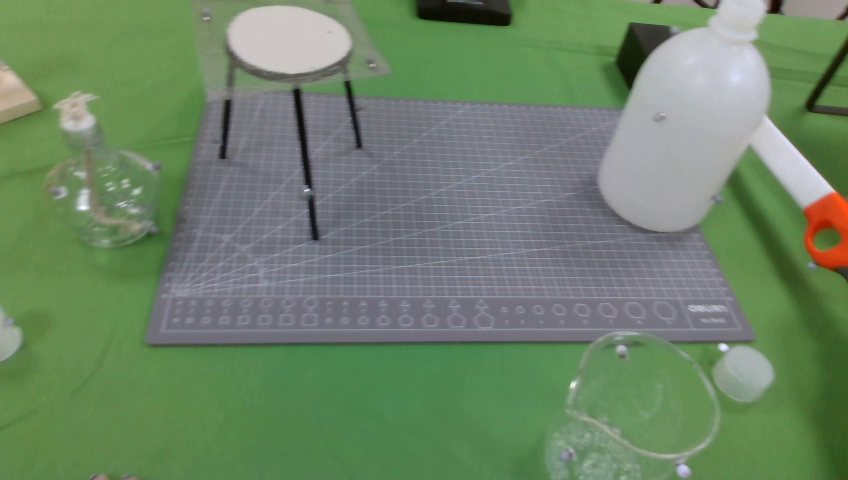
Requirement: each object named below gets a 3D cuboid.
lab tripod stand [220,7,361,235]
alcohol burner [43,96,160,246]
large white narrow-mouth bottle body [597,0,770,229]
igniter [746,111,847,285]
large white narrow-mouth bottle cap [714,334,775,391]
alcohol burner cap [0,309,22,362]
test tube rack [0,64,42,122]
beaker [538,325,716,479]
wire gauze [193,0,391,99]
[{"bbox_3d":[-0.101,-0.099,0.481,0.149,0.132,0.147,6,48,-6],"label":"lab tripod stand"},{"bbox_3d":[-0.235,-0.052,0.436,0.078,0.120,0.077,6,46,-5],"label":"alcohol burner"},{"bbox_3d":[0.217,-0.106,0.495,0.102,0.196,0.101,4,48,-4],"label":"large white narrow-mouth bottle body"},{"bbox_3d":[0.340,-0.025,0.515,0.025,0.057,0.273,35,32,-35],"label":"igniter"},{"bbox_3d":[0.234,0.090,0.445,0.038,0.024,0.037,4,48,-4],"label":"large white narrow-mouth bottle cap"},{"bbox_3d":[-0.280,0.055,0.381,0.034,0.048,0.033,6,47,-6],"label":"alcohol burner cap"},{"bbox_3d":[-0.452,-0.111,0.472,0.066,0.086,0.242,40,54,24],"label":"test tube rack"},{"bbox_3d":[0.109,0.109,0.355,0.084,0.101,0.073,-8,50,-14],"label":"beaker"},{"bbox_3d":[-0.097,-0.145,0.431,0.122,0.011,0.123,-9,52,-18],"label":"wire gauze"}]
